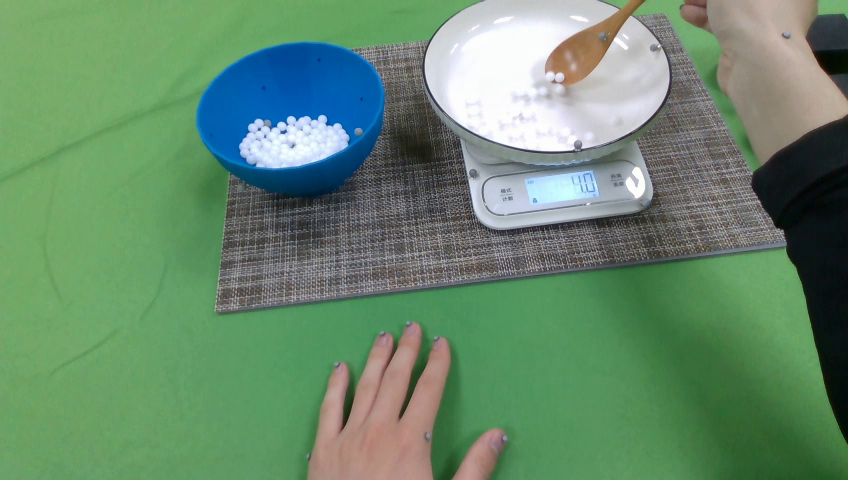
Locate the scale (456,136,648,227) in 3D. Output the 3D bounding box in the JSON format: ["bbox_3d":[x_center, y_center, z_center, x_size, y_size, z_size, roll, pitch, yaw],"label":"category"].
[{"bbox_3d":[0.102,-0.104,0.538,0.149,0.032,0.199,-7,56,-1],"label":"scale"}]

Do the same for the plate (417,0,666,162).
[{"bbox_3d":[0.098,-0.142,0.524,0.209,0.038,0.207,-1,55,2],"label":"plate"}]

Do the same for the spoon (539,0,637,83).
[{"bbox_3d":[0.165,-0.187,0.465,0.022,0.194,0.041,0,63,-41],"label":"spoon"}]

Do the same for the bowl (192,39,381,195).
[{"bbox_3d":[-0.107,-0.091,0.514,0.151,0.077,0.150,-2,55,3],"label":"bowl"}]
